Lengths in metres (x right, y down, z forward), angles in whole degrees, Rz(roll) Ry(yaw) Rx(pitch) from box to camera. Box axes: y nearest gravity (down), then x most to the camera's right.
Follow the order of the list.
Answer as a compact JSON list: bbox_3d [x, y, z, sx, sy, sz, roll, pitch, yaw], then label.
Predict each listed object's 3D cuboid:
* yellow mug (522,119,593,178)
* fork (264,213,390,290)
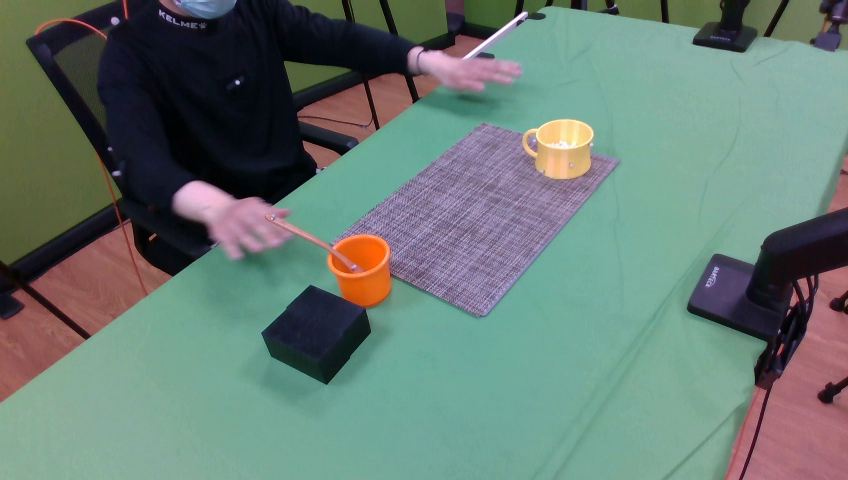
[{"bbox_3d":[0.238,-0.170,1.092,0.130,0.064,0.100,17,47,27],"label":"yellow mug"},{"bbox_3d":[-0.137,0.018,0.869,0.208,0.018,0.028,35,37,-18],"label":"fork"}]
